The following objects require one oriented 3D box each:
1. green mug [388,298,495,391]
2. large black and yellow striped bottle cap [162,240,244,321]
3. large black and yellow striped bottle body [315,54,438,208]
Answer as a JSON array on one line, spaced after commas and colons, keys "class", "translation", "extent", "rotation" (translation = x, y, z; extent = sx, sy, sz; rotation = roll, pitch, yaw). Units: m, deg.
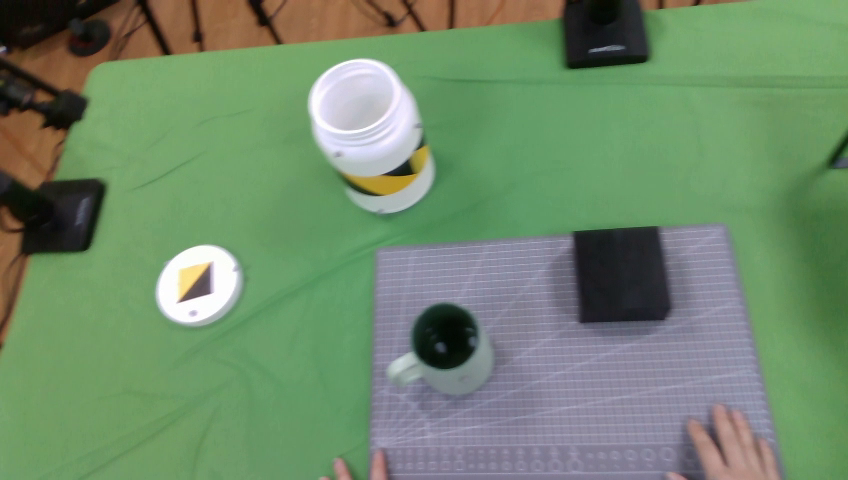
[{"class": "green mug", "translation": [0.017, 0.128, 0.693], "extent": [0.125, 0.106, 0.091], "rotation": [-28, 64, -2]}, {"class": "large black and yellow striped bottle cap", "translation": [-0.306, 0.055, 0.837], "extent": [0.115, 0.019, 0.114], "rotation": [-4, 65, 9]}, {"class": "large black and yellow striped bottle body", "translation": [-0.059, -0.137, 0.784], "extent": [0.130, 0.185, 0.129], "rotation": [-4, 65, 9]}]
